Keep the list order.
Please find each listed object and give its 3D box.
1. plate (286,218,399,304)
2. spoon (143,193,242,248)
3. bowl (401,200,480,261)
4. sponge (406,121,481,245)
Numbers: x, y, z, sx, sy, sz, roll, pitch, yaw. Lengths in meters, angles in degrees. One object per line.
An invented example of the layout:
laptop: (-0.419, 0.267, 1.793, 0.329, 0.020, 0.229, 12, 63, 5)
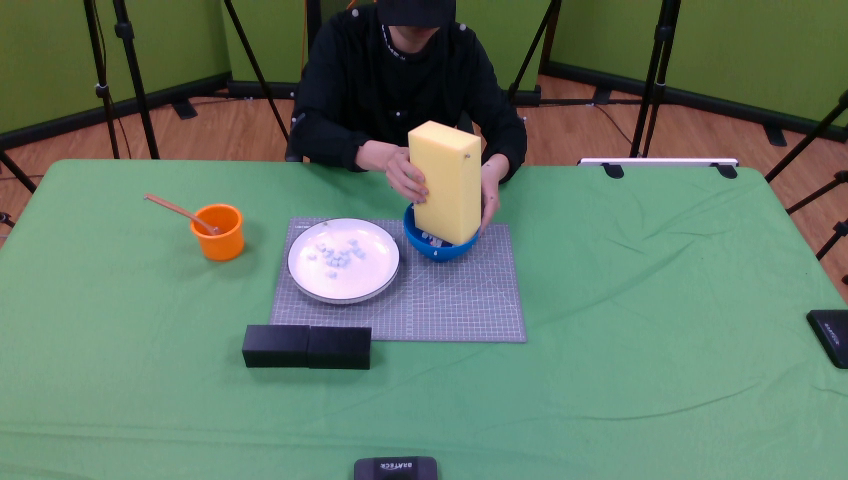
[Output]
plate: (-0.150, 0.042, 1.131, 0.209, 0.038, 0.208, 2, 45, -2)
spoon: (-0.421, -0.037, 1.113, 0.021, 0.195, 0.041, -36, 37, 23)
bowl: (0.030, -0.012, 1.169, 0.151, 0.077, 0.150, 3, 46, -2)
sponge: (0.038, -0.099, 1.098, 0.117, 0.208, 0.061, 27, 49, 33)
